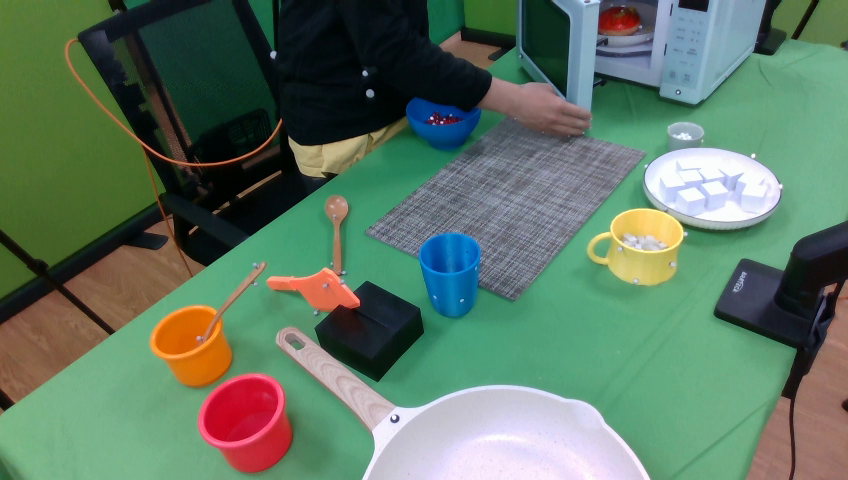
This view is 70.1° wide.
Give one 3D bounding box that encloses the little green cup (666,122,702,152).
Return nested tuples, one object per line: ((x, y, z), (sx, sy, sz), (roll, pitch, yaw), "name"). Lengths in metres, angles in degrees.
((0.471, -0.184, 1.102), (0.061, 0.039, 0.061), (-5, 41, 5), "little green cup")

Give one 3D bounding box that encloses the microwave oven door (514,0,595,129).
((0.255, -0.416, 1.222), (0.039, 0.245, 0.353), (-12, 41, -6), "microwave oven door")

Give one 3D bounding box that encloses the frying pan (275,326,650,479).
((0.003, 0.229, 0.641), (0.484, 0.103, 0.308), (34, 54, 28), "frying pan")

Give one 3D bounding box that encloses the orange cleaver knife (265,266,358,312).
((-0.164, 0.073, 0.864), (0.210, 0.077, 0.012), (-6, 31, 50), "orange cleaver knife")

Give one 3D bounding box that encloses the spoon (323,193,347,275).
((-0.148, -0.014, 1.008), (0.042, 0.022, 0.192), (0, 40, -8), "spoon")

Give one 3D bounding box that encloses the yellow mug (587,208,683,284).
((0.305, 0.009, 0.884), (0.131, 0.064, 0.099), (-4, 41, 5), "yellow mug")

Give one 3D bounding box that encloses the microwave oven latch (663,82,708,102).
((0.518, -0.298, 1.202), (0.078, 0.029, 0.030), (30, 54, 36), "microwave oven latch")

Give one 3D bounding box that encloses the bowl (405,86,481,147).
((0.041, -0.236, 1.197), (0.151, 0.077, 0.150), (-4, 40, 4), "bowl")

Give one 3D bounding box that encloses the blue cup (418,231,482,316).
((0.039, 0.053, 0.843), (0.092, 0.100, 0.092), (-4, 43, 4), "blue cup")

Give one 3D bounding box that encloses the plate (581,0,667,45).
((0.436, -0.491, 1.367), (0.209, 0.038, 0.208), (-6, 41, 6), "plate")

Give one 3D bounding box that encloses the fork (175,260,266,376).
((-0.268, 0.103, 0.792), (0.207, 0.019, 0.028), (-51, 40, 16), "fork")

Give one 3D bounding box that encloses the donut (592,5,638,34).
((0.427, -0.491, 1.349), (0.099, 0.048, 0.098), (-6, 37, 5), "donut")

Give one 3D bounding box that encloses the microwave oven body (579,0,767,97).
((0.473, -0.516, 1.313), (0.438, 0.261, 0.327), (26, 51, 34), "microwave oven body")

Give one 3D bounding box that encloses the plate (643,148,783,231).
((0.464, -0.080, 0.986), (0.207, 0.039, 0.206), (-4, 41, 4), "plate")
